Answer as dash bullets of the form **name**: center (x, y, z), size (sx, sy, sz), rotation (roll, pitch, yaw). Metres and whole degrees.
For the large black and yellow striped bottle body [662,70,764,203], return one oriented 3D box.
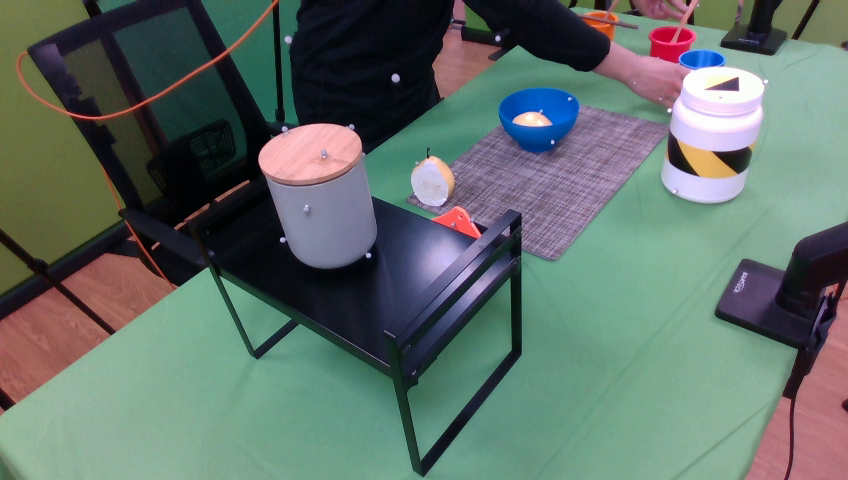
- **large black and yellow striped bottle body**: center (0.464, -0.166, 0.976), size (0.131, 0.185, 0.130), rotation (-5, 41, 5)

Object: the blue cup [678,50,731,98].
- **blue cup**: center (0.543, -0.310, 1.194), size (0.092, 0.101, 0.092), rotation (-6, 40, 5)

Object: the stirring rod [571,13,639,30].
- **stirring rod**: center (0.419, -0.509, 1.404), size (0.174, 0.006, 0.014), rotation (29, 55, 35)

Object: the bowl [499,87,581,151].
- **bowl**: center (0.220, -0.223, 1.155), size (0.151, 0.077, 0.150), rotation (-4, 40, 4)

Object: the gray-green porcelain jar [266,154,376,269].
- **gray-green porcelain jar**: center (-0.112, -0.039, 0.685), size (0.106, 0.127, 0.105), rotation (-4, 40, 4)

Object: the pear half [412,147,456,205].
- **pear half**: center (0.019, -0.120, 1.042), size (0.076, 0.110, 0.056), rotation (11, 44, 16)

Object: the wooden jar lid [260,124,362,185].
- **wooden jar lid**: center (-0.119, -0.088, 0.645), size (0.108, 0.021, 0.108), rotation (-4, 40, 4)

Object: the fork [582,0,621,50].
- **fork**: center (0.446, -0.539, 1.438), size (0.207, 0.019, 0.028), rotation (-57, 35, 12)

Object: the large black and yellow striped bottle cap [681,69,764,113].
- **large black and yellow striped bottle cap**: center (0.453, -0.229, 0.921), size (0.115, 0.019, 0.114), rotation (-4, 39, 4)

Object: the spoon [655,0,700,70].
- **spoon**: center (0.568, -0.463, 1.337), size (0.041, 0.022, 0.193), rotation (31, 97, 38)

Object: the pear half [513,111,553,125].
- **pear half**: center (0.214, -0.226, 1.149), size (0.087, 0.031, 0.070), rotation (12, 50, 15)

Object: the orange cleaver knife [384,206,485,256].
- **orange cleaver knife**: center (0.012, -0.010, 0.942), size (0.012, 0.077, 0.210), rotation (-37, 19, -35)
